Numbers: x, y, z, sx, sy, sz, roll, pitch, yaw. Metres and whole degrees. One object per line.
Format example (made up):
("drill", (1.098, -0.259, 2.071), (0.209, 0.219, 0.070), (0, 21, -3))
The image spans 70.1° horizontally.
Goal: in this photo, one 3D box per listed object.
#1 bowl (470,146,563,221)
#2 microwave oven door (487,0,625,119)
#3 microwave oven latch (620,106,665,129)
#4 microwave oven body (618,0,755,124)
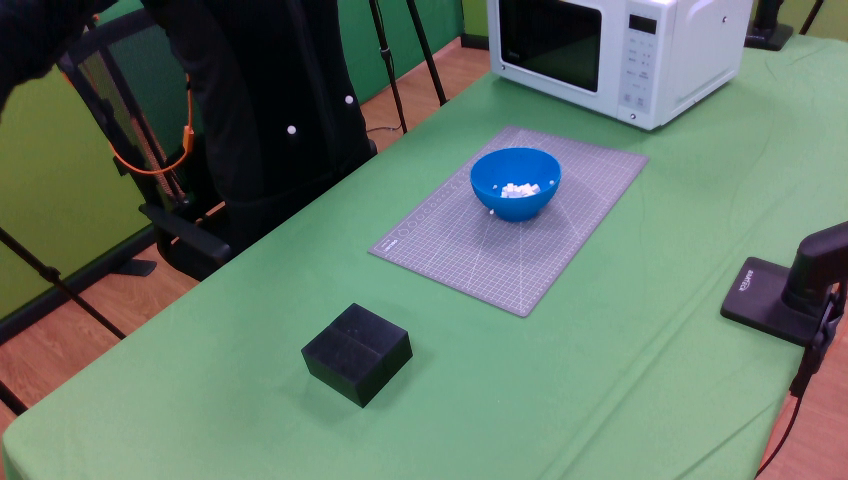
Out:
("bowl", (0.155, -0.084, 1.008), (0.151, 0.077, 0.150), (-6, 40, 5))
("microwave oven door", (0.262, -0.409, 1.221), (0.039, 0.245, 0.352), (-33, 45, -25))
("microwave oven latch", (0.412, -0.237, 1.146), (0.030, 0.029, 0.078), (-32, 44, -23))
("microwave oven body", (0.402, -0.458, 1.259), (0.327, 0.261, 0.437), (-33, 45, -24))
